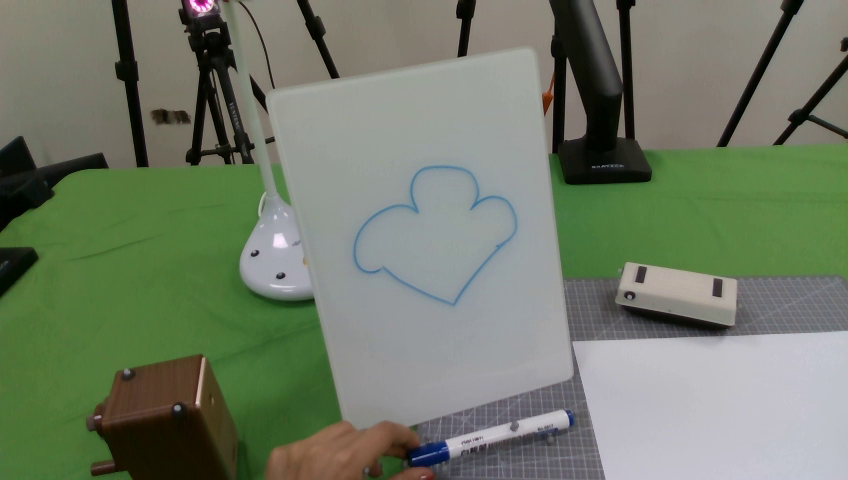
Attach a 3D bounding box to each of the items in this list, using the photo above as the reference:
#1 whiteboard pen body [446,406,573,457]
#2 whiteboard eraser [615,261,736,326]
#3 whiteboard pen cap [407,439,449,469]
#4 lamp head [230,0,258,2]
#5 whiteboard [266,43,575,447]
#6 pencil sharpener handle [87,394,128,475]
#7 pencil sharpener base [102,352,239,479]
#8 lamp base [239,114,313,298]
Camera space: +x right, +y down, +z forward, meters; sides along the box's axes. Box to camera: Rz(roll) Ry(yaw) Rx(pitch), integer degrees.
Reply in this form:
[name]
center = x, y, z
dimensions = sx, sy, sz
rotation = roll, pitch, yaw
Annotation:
[whiteboard pen body]
center = 0.060, 0.161, 0.503
dimensions = 0.141, 0.017, 0.017
rotation = -10, 34, -16
[whiteboard eraser]
center = 0.258, 0.055, 0.623
dimensions = 0.112, 0.042, 0.055
rotation = 10, 38, 21
[whiteboard pen cap]
center = 0.004, 0.170, 0.484
dimensions = 0.033, 0.018, 0.018
rotation = -6, 31, -30
[lamp head]
center = -0.164, -0.279, 0.508
dimensions = 0.112, 0.113, 0.122
rotation = -24, 64, -25
[whiteboard]
center = -0.002, -0.004, 0.568
dimensions = 0.217, 0.307, 0.143
rotation = -13, 16, -10
[pencil sharpener handle]
center = -0.251, 0.154, 0.471
dimensions = 0.031, 0.068, 0.035
rotation = -11, 23, -7
[pencil sharpener base]
center = -0.201, 0.153, 0.488
dimensions = 0.077, 0.108, 0.060
rotation = -11, 36, -7
[lamp base]
center = -0.161, -0.049, 0.711
dimensions = 0.160, 0.182, 0.177
rotation = -32, 40, -33
